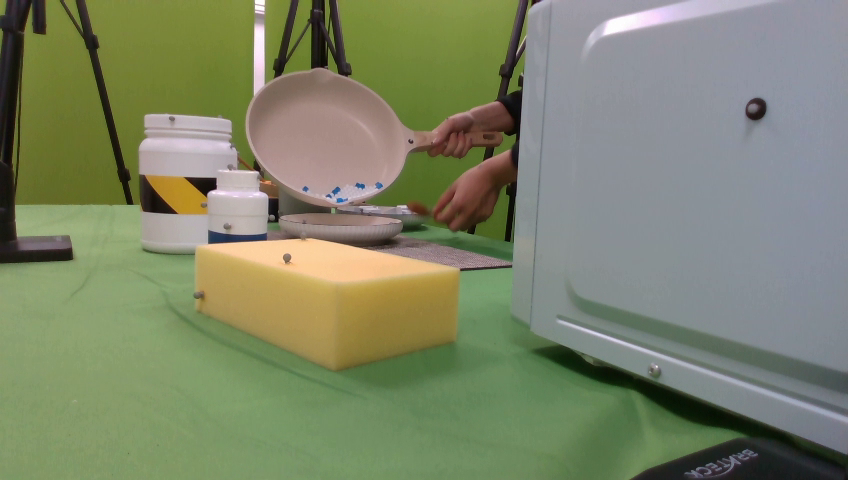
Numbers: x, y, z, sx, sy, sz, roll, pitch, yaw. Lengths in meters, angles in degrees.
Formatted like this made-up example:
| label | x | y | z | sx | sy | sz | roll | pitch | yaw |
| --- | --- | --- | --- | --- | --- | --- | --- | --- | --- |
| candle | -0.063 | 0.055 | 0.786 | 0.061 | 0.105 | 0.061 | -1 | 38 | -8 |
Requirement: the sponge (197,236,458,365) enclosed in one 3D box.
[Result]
| label | x | y | z | sx | sy | sz | roll | pitch | yaw |
| --- | --- | --- | --- | --- | --- | --- | --- | --- | --- |
| sponge | -0.087 | 0.039 | 0.500 | 0.206 | 0.061 | 0.119 | 8 | 9 | 44 |

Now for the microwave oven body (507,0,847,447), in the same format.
| label | x | y | z | sx | sy | sz | roll | pitch | yaw |
| --- | --- | --- | --- | --- | --- | --- | --- | --- | --- |
| microwave oven body | 0.331 | -0.042 | 0.425 | 0.444 | 0.260 | 0.324 | -2 | 8 | -31 |

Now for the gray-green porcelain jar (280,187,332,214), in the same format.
| label | x | y | z | sx | sy | sz | roll | pitch | yaw |
| --- | --- | --- | --- | --- | --- | --- | --- | --- | --- |
| gray-green porcelain jar | -0.238 | -0.092 | 1.221 | 0.106 | 0.126 | 0.106 | 2 | 8 | 0 |

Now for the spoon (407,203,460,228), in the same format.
| label | x | y | z | sx | sy | sz | roll | pitch | yaw |
| --- | --- | --- | --- | --- | --- | --- | --- | --- | --- |
| spoon | 0.026 | -0.043 | 1.098 | 0.041 | 0.021 | 0.194 | 3 | -4 | 28 |

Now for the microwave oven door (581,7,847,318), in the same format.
| label | x | y | z | sx | sy | sz | roll | pitch | yaw |
| --- | --- | --- | --- | --- | --- | --- | --- | --- | --- |
| microwave oven door | 0.295 | -0.067 | 0.569 | 0.358 | 0.243 | 0.039 | -3 | 8 | -31 |

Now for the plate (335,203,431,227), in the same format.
| label | x | y | z | sx | sy | sz | roll | pitch | yaw |
| --- | --- | --- | --- | --- | --- | --- | --- | --- | --- |
| plate | -0.089 | -0.053 | 1.309 | 0.208 | 0.039 | 0.207 | 2 | 8 | 0 |

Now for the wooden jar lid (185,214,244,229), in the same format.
| label | x | y | z | sx | sy | sz | roll | pitch | yaw |
| --- | --- | --- | --- | --- | --- | --- | --- | --- | --- |
| wooden jar lid | -0.404 | -0.037 | 1.169 | 0.108 | 0.020 | 0.108 | 3 | 7 | 0 |

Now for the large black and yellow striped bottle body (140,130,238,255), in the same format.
| label | x | y | z | sx | sy | sz | roll | pitch | yaw |
| --- | --- | --- | --- | --- | --- | --- | --- | --- | --- |
| large black and yellow striped bottle body | -0.336 | -0.078 | 0.872 | 0.131 | 0.184 | 0.130 | 2 | 8 | 0 |

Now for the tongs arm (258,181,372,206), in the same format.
| label | x | y | z | sx | sy | sz | roll | pitch | yaw |
| --- | --- | --- | --- | --- | --- | --- | --- | --- | --- |
| tongs arm | -0.241 | -0.095 | 1.374 | 0.387 | 0.026 | 0.050 | 8 | 0 | -37 |

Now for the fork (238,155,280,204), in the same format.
| label | x | y | z | sx | sy | sz | roll | pitch | yaw |
| --- | --- | --- | --- | --- | --- | --- | --- | --- | --- |
| fork | -0.396 | -0.143 | 1.486 | 0.028 | 0.018 | 0.208 | 20 | -26 | 45 |

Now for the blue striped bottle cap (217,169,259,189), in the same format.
| label | x | y | z | sx | sy | sz | roll | pitch | yaw |
| --- | --- | --- | --- | --- | --- | --- | --- | --- | --- |
| blue striped bottle cap | -0.202 | -0.067 | 0.656 | 0.044 | 0.020 | 0.044 | 0 | 10 | 0 |

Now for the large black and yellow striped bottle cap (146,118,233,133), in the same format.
| label | x | y | z | sx | sy | sz | roll | pitch | yaw |
| --- | --- | --- | --- | --- | --- | --- | --- | --- | --- |
| large black and yellow striped bottle cap | -0.333 | -0.163 | 0.861 | 0.115 | 0.019 | 0.115 | 1 | 9 | 0 |

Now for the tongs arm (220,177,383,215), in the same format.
| label | x | y | z | sx | sy | sz | roll | pitch | yaw |
| --- | --- | --- | --- | --- | --- | --- | --- | --- | --- |
| tongs arm | -0.285 | -0.104 | 1.445 | 0.389 | 0.027 | 0.028 | 9 | -4 | -23 |

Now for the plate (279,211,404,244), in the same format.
| label | x | y | z | sx | sy | sz | roll | pitch | yaw |
| --- | --- | --- | --- | --- | --- | --- | --- | --- | --- |
| plate | -0.139 | -0.022 | 1.021 | 0.209 | 0.038 | 0.209 | 2 | 7 | 0 |

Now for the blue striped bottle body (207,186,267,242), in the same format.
| label | x | y | z | sx | sy | sz | roll | pitch | yaw |
| --- | --- | --- | --- | --- | --- | --- | --- | --- | --- |
| blue striped bottle body | -0.204 | -0.016 | 0.663 | 0.063 | 0.120 | 0.063 | 2 | 7 | 0 |

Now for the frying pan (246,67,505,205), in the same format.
| label | x | y | z | sx | sy | sz | roll | pitch | yaw |
| --- | --- | --- | --- | --- | --- | --- | --- | --- | --- |
| frying pan | -0.078 | -0.190 | 1.142 | 0.489 | 0.306 | 0.102 | -4 | -26 | -13 |

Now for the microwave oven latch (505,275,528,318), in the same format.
| label | x | y | z | sx | sy | sz | roll | pitch | yaw |
| --- | --- | --- | --- | --- | --- | --- | --- | --- | --- |
| microwave oven latch | 0.100 | 0.042 | 0.472 | 0.079 | 0.029 | 0.030 | -2 | 8 | -30 |
